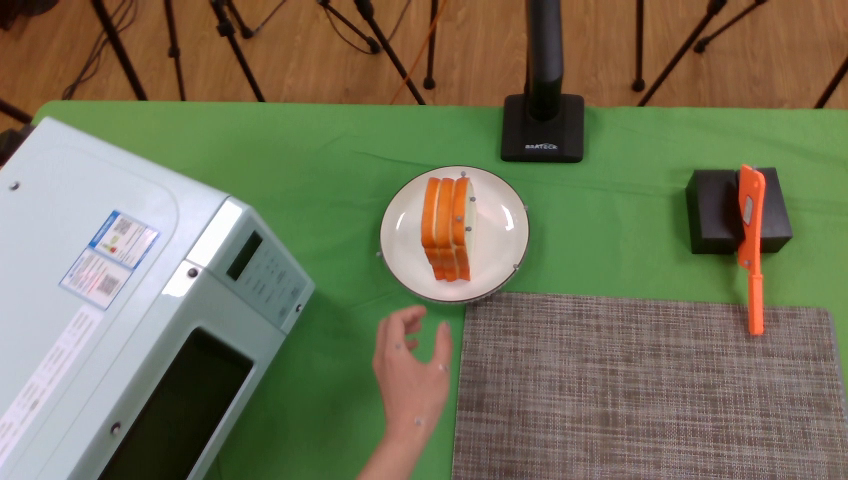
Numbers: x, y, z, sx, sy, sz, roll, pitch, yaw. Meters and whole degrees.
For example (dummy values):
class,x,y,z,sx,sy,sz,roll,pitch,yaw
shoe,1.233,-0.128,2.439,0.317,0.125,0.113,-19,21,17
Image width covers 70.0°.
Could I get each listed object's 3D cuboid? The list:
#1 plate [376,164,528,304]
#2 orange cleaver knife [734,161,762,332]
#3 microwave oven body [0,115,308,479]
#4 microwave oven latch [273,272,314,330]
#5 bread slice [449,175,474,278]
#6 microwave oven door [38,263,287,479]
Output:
class,x,y,z,sx,sy,sz,roll,pitch,yaw
plate,0.039,-0.006,0.838,0.207,0.039,0.206,-3,66,6
orange cleaver knife,0.402,0.006,0.755,0.012,0.077,0.211,-3,95,6
microwave oven body,-0.401,0.133,0.708,0.324,0.262,0.440,22,71,16
microwave oven latch,-0.177,0.078,0.810,0.030,0.030,0.079,23,72,16
bread slice,0.050,-0.019,0.781,0.018,0.135,0.106,0,69,10
microwave oven door,-0.290,0.218,0.650,0.039,0.246,0.354,22,71,17
